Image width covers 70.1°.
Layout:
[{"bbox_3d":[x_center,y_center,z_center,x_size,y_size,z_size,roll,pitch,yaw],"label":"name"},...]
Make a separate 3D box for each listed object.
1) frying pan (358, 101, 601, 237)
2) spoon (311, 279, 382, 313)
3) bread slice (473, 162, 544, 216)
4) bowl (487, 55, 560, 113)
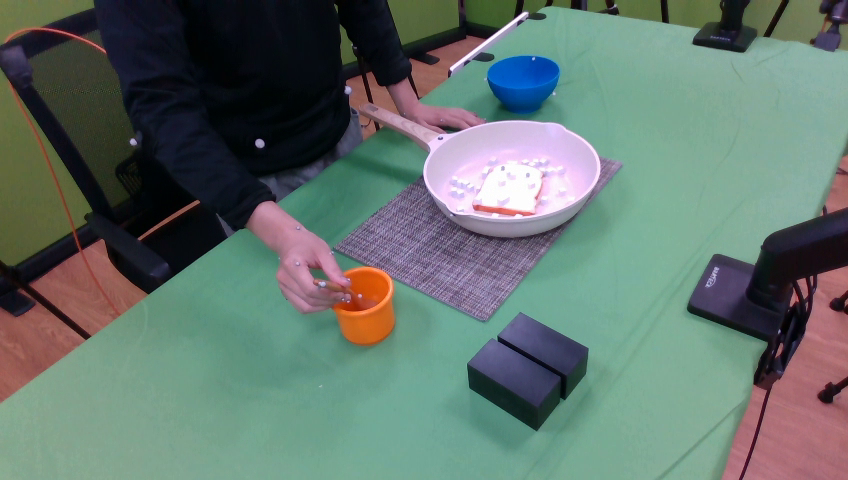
[{"bbox_3d":[0.067,-0.153,1.067,0.484,0.103,0.308,32,52,26],"label":"frying pan"},{"bbox_3d":[-0.100,0.071,0.782,0.041,0.195,0.021,26,81,22],"label":"spoon"},{"bbox_3d":[0.150,-0.088,1.042,0.106,0.018,0.134,7,45,16],"label":"bread slice"},{"bbox_3d":[0.208,-0.319,1.266,0.151,0.077,0.150,-4,41,4],"label":"bowl"}]
